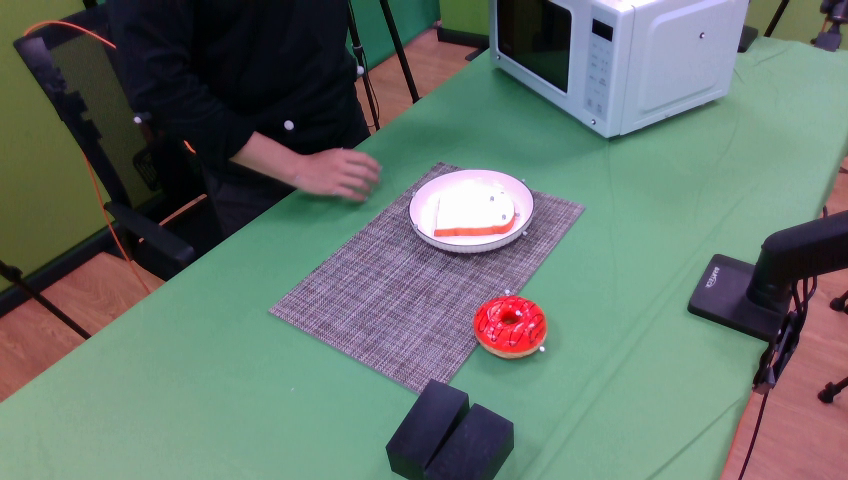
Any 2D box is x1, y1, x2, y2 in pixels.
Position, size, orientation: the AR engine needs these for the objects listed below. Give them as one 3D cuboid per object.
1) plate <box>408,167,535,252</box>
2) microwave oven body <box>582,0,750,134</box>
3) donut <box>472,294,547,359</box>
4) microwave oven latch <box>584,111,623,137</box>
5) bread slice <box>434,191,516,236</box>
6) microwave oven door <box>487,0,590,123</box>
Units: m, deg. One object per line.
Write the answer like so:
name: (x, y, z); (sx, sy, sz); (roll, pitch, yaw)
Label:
plate: (0.078, -0.047, 0.996); (0.207, 0.039, 0.206); (-4, 41, 4)
microwave oven body: (0.382, -0.444, 1.246); (0.327, 0.261, 0.437); (-22, 42, -16)
donut: (0.114, 0.114, 0.803); (0.099, 0.048, 0.098); (0, 40, 1)
microwave oven latch: (0.337, -0.222, 1.142); (0.030, 0.029, 0.078); (-21, 42, -14)
bread slice: (0.085, -0.046, 0.995); (0.131, 0.019, 0.104); (-1, 41, 7)
microwave oven door: (0.232, -0.420, 1.231); (0.039, 0.245, 0.352); (-22, 43, -16)
